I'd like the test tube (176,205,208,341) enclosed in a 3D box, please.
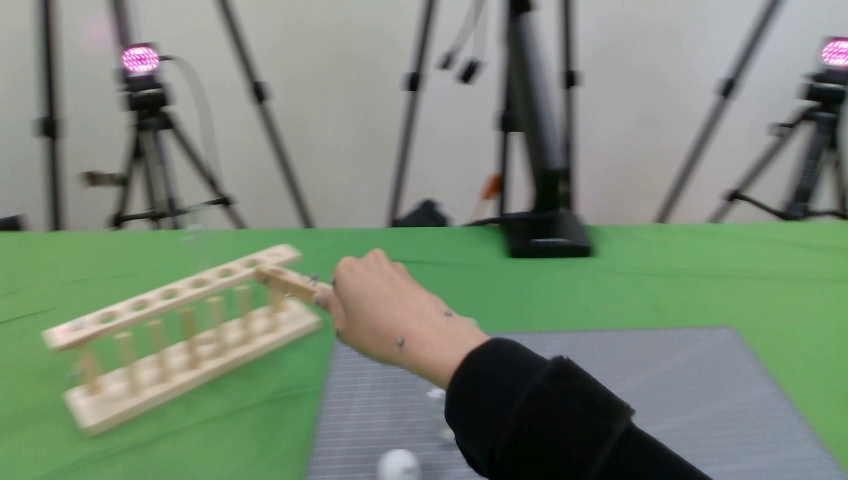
[{"bbox_3d":[-0.236,0.037,0.619,0.017,0.151,0.017,2,22,0],"label":"test tube"}]

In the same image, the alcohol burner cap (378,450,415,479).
[{"bbox_3d":[-0.021,0.188,0.479,0.034,0.048,0.033,1,29,0],"label":"alcohol burner cap"}]

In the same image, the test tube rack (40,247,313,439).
[{"bbox_3d":[-0.238,0.094,0.620,0.243,0.086,0.066,-23,36,-36],"label":"test tube rack"}]

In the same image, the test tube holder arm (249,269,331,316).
[{"bbox_3d":[-0.105,0.041,0.482,0.087,0.015,0.010,15,28,29],"label":"test tube holder arm"}]

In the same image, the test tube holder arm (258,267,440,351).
[{"bbox_3d":[-0.064,0.050,0.464,0.177,0.015,0.013,15,28,28],"label":"test tube holder arm"}]

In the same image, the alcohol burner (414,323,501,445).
[{"bbox_3d":[0.030,0.120,0.530,0.078,0.120,0.077,1,30,0],"label":"alcohol burner"}]
